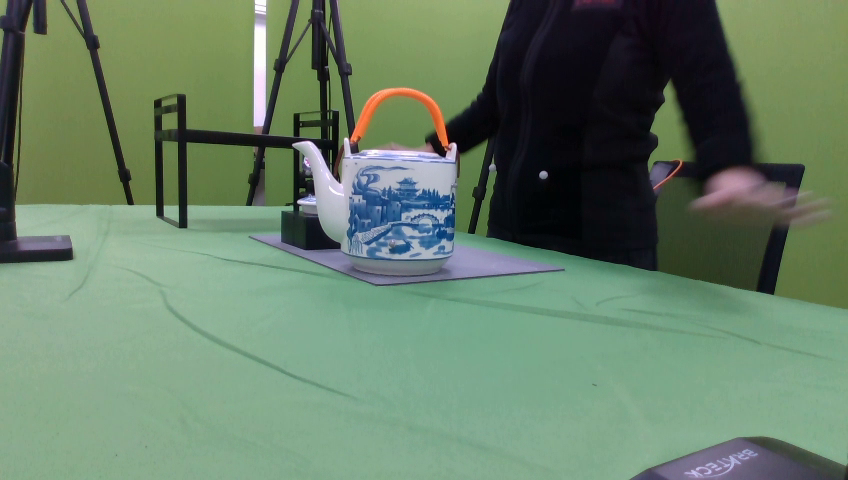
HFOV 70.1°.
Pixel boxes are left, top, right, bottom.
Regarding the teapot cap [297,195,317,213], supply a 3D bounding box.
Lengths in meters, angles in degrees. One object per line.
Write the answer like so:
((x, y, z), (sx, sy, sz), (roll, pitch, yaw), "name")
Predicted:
((-0.157, -0.065, 0.951), (0.085, 0.044, 0.085), (0, 9, 0), "teapot cap")

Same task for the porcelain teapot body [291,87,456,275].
((-0.061, -0.076, 0.754), (0.206, 0.225, 0.145), (0, 8, -12), "porcelain teapot body")
